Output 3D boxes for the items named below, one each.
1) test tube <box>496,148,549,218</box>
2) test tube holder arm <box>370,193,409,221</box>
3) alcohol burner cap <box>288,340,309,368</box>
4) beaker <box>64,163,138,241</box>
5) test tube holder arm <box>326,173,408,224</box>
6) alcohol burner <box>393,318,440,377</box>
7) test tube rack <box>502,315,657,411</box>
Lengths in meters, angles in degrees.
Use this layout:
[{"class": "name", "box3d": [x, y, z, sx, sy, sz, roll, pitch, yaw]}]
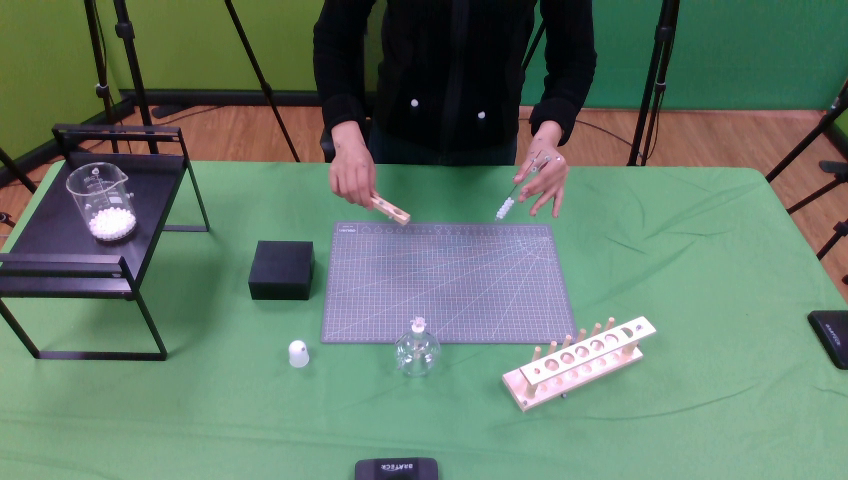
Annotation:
[{"class": "test tube", "box3d": [0.159, -0.090, 0.994, 0.017, 0.150, 0.017, 19, 39, -16]}, {"class": "test tube holder arm", "box3d": [-0.063, -0.057, 1.060, 0.087, 0.015, 0.010, 30, 44, 20]}, {"class": "alcohol burner cap", "box3d": [-0.207, 0.183, 0.991, 0.034, 0.048, 0.033, 3, 47, -3]}, {"class": "beaker", "box3d": [-0.477, -0.055, 0.910, 0.084, 0.101, 0.073, -9, 48, -13]}, {"class": "test tube holder arm", "box3d": [-0.103, -0.075, 1.071, 0.178, 0.015, 0.013, 28, 44, 19]}, {"class": "alcohol burner", "box3d": [-0.011, 0.166, 0.971, 0.078, 0.120, 0.077, 1, 45, -1]}, {"class": "test tube rack", "box3d": [0.253, 0.186, 0.988, 0.242, 0.085, 0.066, -18, 50, -20]}]
